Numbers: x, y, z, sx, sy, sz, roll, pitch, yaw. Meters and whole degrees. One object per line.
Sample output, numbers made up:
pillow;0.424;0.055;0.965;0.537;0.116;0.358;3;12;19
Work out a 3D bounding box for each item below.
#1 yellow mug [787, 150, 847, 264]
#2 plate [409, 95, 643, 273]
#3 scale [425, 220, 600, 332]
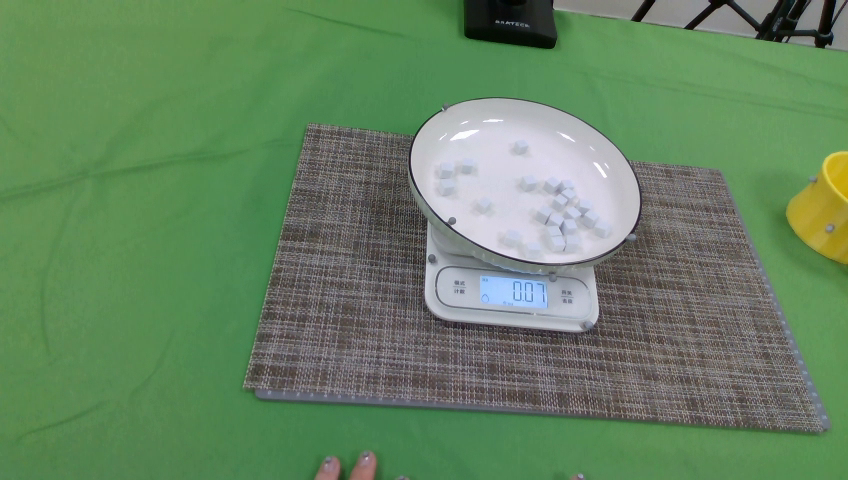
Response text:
yellow mug;0.434;-0.022;0.601;0.100;0.064;0.129;5;51;-6
plate;0.088;-0.051;0.541;0.209;0.038;0.207;5;50;-6
scale;0.078;-0.013;0.550;0.149;0.032;0.199;6;50;-4
